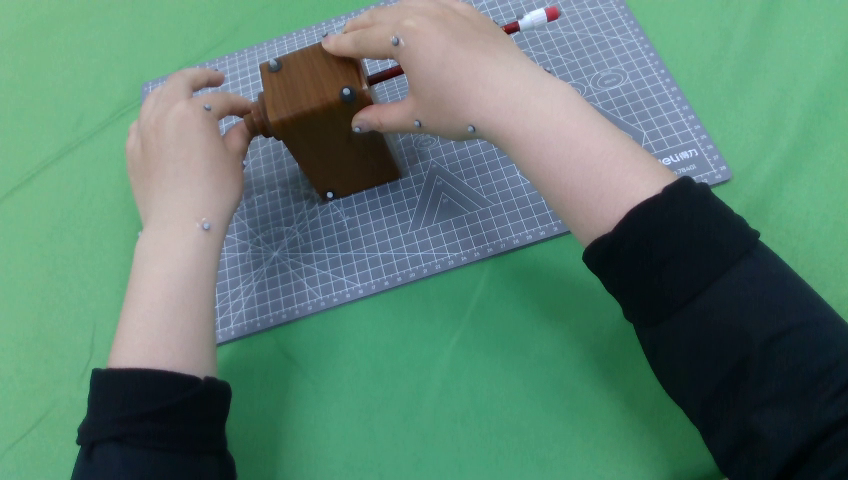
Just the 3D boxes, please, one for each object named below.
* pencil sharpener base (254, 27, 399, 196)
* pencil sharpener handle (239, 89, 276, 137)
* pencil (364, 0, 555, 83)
[{"bbox_3d":[-0.071,-0.091,0.455,0.077,0.108,0.061,-20,60,2],"label":"pencil sharpener base"},{"bbox_3d":[-0.126,-0.091,0.447,0.030,0.036,0.067,-20,20,2],"label":"pencil sharpener handle"},{"bbox_3d":[0.000,-0.129,0.425,0.194,0.012,0.012,-20,61,3],"label":"pencil"}]
